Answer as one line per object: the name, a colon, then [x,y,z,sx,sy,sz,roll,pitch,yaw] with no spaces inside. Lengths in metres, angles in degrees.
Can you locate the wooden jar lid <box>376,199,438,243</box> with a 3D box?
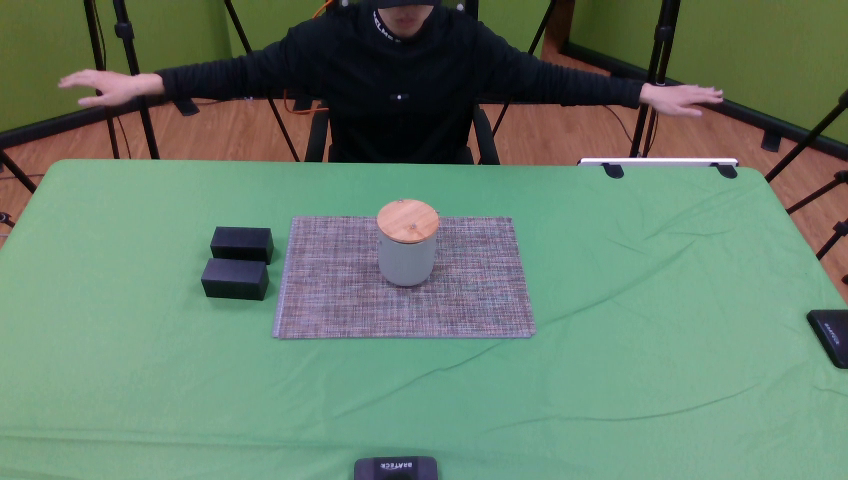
wooden jar lid: [-0.029,-0.030,1.059,0.108,0.021,0.107,2,43,-2]

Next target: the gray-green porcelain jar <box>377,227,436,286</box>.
gray-green porcelain jar: [-0.033,0.014,1.106,0.106,0.127,0.105,2,46,-2]
